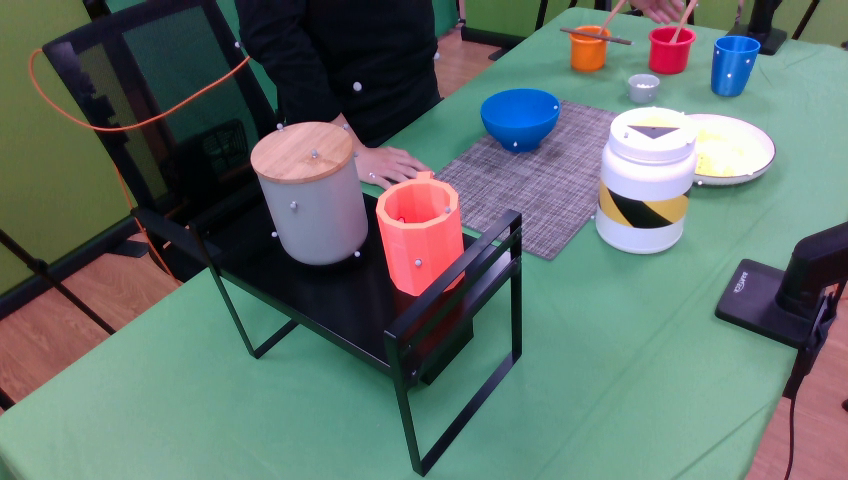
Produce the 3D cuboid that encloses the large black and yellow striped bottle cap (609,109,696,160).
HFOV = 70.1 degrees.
[{"bbox_3d":[0.320,-0.150,0.849,0.115,0.019,0.114,-4,40,3],"label":"large black and yellow striped bottle cap"}]

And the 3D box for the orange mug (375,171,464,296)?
[{"bbox_3d":[-0.001,-0.016,0.662,0.083,0.101,0.125,-2,45,8],"label":"orange mug"}]

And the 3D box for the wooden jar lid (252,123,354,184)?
[{"bbox_3d":[-0.129,-0.090,0.652,0.108,0.021,0.108,-3,41,4],"label":"wooden jar lid"}]

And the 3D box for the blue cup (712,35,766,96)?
[{"bbox_3d":[0.627,-0.350,1.227,0.092,0.100,0.092,-4,39,4],"label":"blue cup"}]

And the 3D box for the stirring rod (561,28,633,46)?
[{"bbox_3d":[0.383,-0.454,1.347,0.174,0.006,0.014,27,53,34],"label":"stirring rod"}]

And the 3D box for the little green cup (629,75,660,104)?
[{"bbox_3d":[0.457,-0.313,1.260,0.061,0.039,0.061,-4,39,4],"label":"little green cup"}]

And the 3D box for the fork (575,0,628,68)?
[{"bbox_3d":[0.413,-0.481,1.378,0.207,0.019,0.028,-57,44,12],"label":"fork"}]

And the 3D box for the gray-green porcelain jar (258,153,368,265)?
[{"bbox_3d":[-0.122,-0.043,0.692,0.106,0.127,0.105,-4,40,4],"label":"gray-green porcelain jar"}]

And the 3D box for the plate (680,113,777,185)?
[{"bbox_3d":[0.506,-0.158,1.073,0.209,0.038,0.208,-5,40,4],"label":"plate"}]

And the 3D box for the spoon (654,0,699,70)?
[{"bbox_3d":[0.567,-0.463,1.337,0.041,0.022,0.193,30,97,38],"label":"spoon"}]

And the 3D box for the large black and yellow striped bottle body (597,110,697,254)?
[{"bbox_3d":[0.331,-0.086,0.904,0.131,0.185,0.130,-5,41,4],"label":"large black and yellow striped bottle body"}]

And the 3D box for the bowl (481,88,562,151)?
[{"bbox_3d":[0.187,-0.223,1.161,0.151,0.077,0.150,-5,40,4],"label":"bowl"}]
